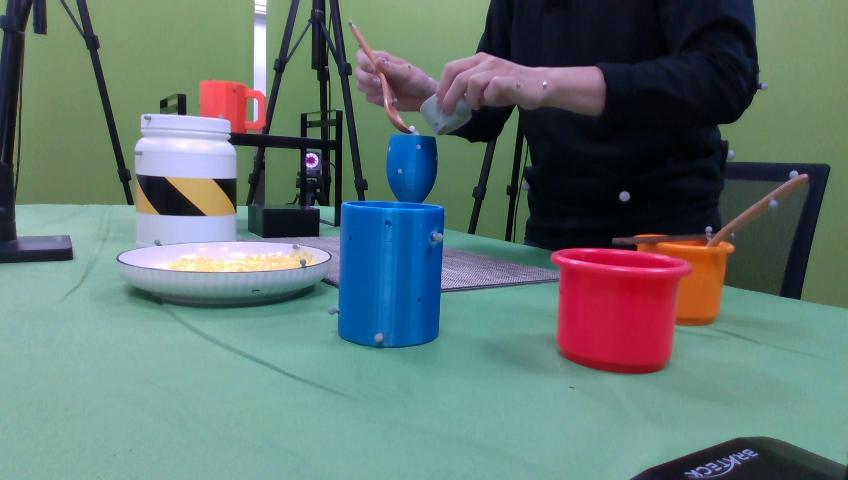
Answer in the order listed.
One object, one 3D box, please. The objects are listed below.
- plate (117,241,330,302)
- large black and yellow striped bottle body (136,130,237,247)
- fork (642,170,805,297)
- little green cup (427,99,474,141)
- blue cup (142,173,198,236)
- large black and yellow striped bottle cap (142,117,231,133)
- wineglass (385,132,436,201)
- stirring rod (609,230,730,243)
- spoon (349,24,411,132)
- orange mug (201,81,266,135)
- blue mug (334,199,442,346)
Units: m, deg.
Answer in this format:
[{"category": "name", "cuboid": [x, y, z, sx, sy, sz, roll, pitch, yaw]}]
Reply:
[{"category": "plate", "cuboid": [-0.203, 0.031, 0.630, 0.209, 0.038, 0.209, 3, 7, 0]}, {"category": "large black and yellow striped bottle body", "cuboid": [-0.332, -0.076, 0.851, 0.131, 0.184, 0.130, 3, 8, 0]}, {"category": "fork", "cuboid": [0.261, 0.003, 0.545, 0.028, 0.018, 0.207, 5, -37, -15]}, {"category": "little green cup", "cuboid": [0.033, -0.152, 0.771, 0.061, 0.038, 0.061, 4, -7, 1]}, {"category": "blue cup", "cuboid": [-0.425, -0.060, 1.014, 0.093, 0.100, 0.092, 4, 9, 0]}, {"category": "large black and yellow striped bottle cap", "cuboid": [-0.328, -0.159, 0.839, 0.115, 0.019, 0.115, 1, 9, 0]}, {"category": "wineglass", "cuboid": [-0.020, -0.061, 0.838, 0.074, 0.172, 0.073, 2, 7, 0]}, {"category": "stirring rod", "cuboid": [0.241, -0.004, 0.582, 0.177, 0.006, 0.014, -4, 10, -33]}, {"category": "spoon", "cuboid": [-0.064, -0.230, 0.850, 0.021, 0.193, 0.042, -29, -18, 20]}, {"category": "orange mug", "cuboid": [-0.377, -0.260, 1.198, 0.126, 0.101, 0.083, -3, 8, -6]}, {"category": "blue mug", "cuboid": [-0.034, 0.020, 0.498, 0.083, 0.106, 0.116, 0, 7, -20]}]
